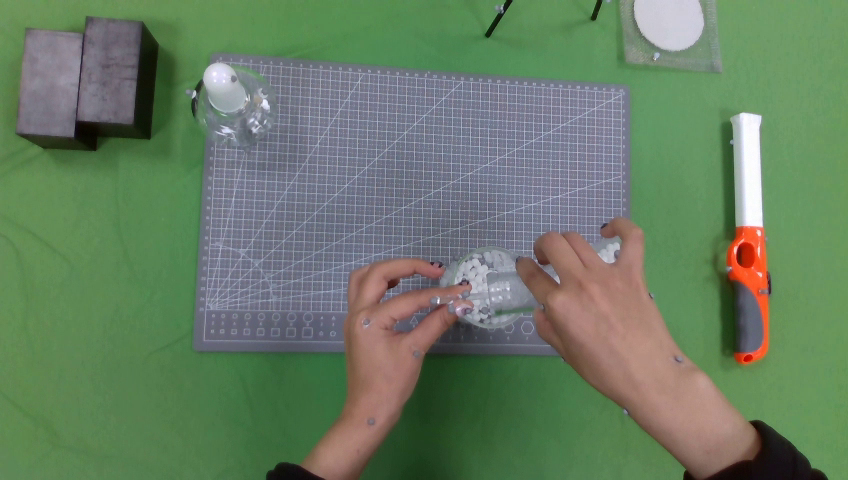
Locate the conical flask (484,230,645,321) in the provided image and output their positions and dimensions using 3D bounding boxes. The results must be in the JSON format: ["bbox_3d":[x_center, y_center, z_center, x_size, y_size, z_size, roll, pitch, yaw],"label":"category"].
[{"bbox_3d":[0.111,0.036,0.497,0.122,0.075,0.075,-8,85,4],"label":"conical flask"}]

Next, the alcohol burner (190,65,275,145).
[{"bbox_3d":[-0.181,-0.131,0.561,0.078,0.119,0.077,1,85,-6],"label":"alcohol burner"}]

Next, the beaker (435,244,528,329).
[{"bbox_3d":[0.053,0.043,0.587,0.084,0.100,0.074,-41,91,-10],"label":"beaker"}]

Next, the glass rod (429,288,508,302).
[{"bbox_3d":[0.044,0.047,0.516,0.008,0.201,0.008,-1,87,22],"label":"glass rod"}]

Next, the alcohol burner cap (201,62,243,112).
[{"bbox_3d":[-0.177,-0.136,0.526,0.034,0.048,0.033,2,77,-9],"label":"alcohol burner cap"}]

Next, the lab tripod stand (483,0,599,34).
[{"bbox_3d":[0.128,-0.279,0.612,0.149,0.131,0.148,1,86,-8],"label":"lab tripod stand"}]

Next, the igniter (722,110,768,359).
[{"bbox_3d":[0.356,-0.007,0.673,0.057,0.025,0.276,3,84,-19],"label":"igniter"}]

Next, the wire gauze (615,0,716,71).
[{"bbox_3d":[0.278,-0.257,0.695,0.125,0.011,0.121,1,85,-10],"label":"wire gauze"}]
